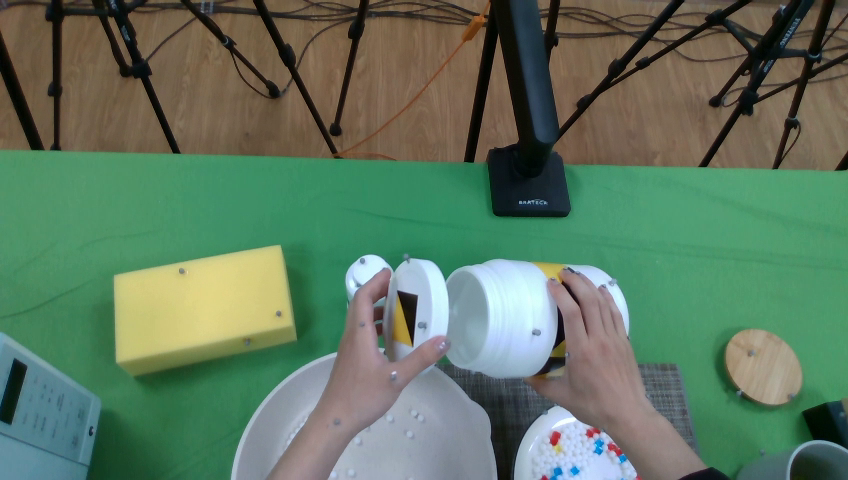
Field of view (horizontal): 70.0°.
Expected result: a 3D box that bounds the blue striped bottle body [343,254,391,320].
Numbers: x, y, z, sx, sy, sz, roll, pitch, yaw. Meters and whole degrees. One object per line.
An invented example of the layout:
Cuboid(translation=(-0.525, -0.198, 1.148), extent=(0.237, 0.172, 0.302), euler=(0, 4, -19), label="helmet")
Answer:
Cuboid(translation=(-0.072, 0.055, 0.782), extent=(0.063, 0.121, 0.062), euler=(3, 63, -5), label="blue striped bottle body")

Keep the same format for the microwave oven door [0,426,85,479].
Cuboid(translation=(-0.386, 0.348, 0.507), extent=(0.039, 0.245, 0.352), euler=(1, 62, -6), label="microwave oven door")

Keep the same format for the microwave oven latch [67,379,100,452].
Cuboid(translation=(-0.396, 0.201, 0.696), extent=(0.030, 0.030, 0.078), euler=(1, 63, -6), label="microwave oven latch")

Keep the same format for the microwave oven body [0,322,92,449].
Cuboid(translation=(-0.532, 0.310, 0.516), extent=(0.326, 0.262, 0.438), euler=(1, 63, -6), label="microwave oven body")

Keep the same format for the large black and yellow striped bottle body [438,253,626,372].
Cuboid(translation=(0.117, 0.081, 0.683), extent=(0.185, 0.131, 0.129), euler=(4, 60, -27), label="large black and yellow striped bottle body")

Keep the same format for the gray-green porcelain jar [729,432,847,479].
Cuboid(translation=(0.435, 0.292, 0.716), extent=(0.106, 0.127, 0.105), euler=(3, 62, -5), label="gray-green porcelain jar")

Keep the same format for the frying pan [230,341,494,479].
Cuboid(translation=(-0.023, 0.342, 0.647), extent=(0.307, 0.103, 0.482), euler=(-20, 59, -15), label="frying pan")

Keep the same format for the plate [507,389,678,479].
Cuboid(translation=(0.202, 0.288, 0.737), extent=(0.209, 0.038, 0.207), euler=(2, 63, -4), label="plate")

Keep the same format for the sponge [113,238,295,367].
Cuboid(translation=(-0.280, 0.079, 0.781), extent=(0.207, 0.061, 0.117), euler=(-11, 65, -13), label="sponge")

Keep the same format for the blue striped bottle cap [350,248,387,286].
Cuboid(translation=(-0.067, 0.032, 0.736), extent=(0.044, 0.021, 0.044), euler=(2, 60, -3), label="blue striped bottle cap")

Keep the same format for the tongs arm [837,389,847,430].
Cuboid(translation=(0.568, 0.368, 0.711), extent=(0.051, 0.026, 0.382), euler=(-3, 74, -10), label="tongs arm")

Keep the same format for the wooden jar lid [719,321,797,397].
Cuboid(translation=(0.462, 0.166, 0.843), extent=(0.108, 0.021, 0.107), euler=(2, 64, -5), label="wooden jar lid")

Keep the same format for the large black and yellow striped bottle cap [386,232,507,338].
Cuboid(translation=(0.021, 0.041, 0.573), extent=(0.115, 0.019, 0.114), euler=(10, 49, -11), label="large black and yellow striped bottle cap")

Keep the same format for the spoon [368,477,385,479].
Cuboid(translation=(-0.099, 0.329, 0.651), extent=(0.041, 0.022, 0.193), euler=(40, 39, 12), label="spoon")
